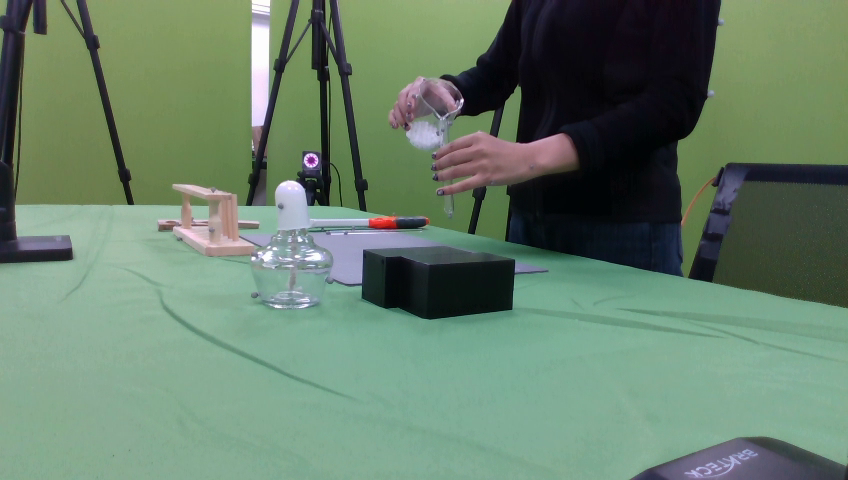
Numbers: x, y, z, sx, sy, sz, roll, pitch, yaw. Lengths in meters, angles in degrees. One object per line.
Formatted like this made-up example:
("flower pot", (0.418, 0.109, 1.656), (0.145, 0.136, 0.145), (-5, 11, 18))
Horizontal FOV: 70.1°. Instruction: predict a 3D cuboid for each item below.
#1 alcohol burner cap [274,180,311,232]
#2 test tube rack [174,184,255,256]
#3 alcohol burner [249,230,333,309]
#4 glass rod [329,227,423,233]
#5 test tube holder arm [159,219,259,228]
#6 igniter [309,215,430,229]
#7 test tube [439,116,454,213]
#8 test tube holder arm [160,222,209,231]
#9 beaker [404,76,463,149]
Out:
("alcohol burner cap", (-0.125, -0.032, 0.563), (0.034, 0.048, 0.034), (-6, 5, 1))
("test tube rack", (-0.327, -0.036, 0.928), (0.067, 0.085, 0.241), (-2, 9, -32))
("alcohol burner", (-0.125, 0.004, 0.568), (0.078, 0.119, 0.078), (2, 10, 0))
("glass rod", (-0.087, -0.019, 1.148), (0.201, 0.008, 0.008), (-3, 8, -32))
("test tube holder arm", (-0.390, -0.030, 1.107), (0.179, 0.015, 0.013), (-4, 45, -39))
("igniter", (-0.108, -0.037, 1.228), (0.278, 0.025, 0.057), (-3, -1, -36))
("test tube", (0.034, -0.115, 0.915), (0.017, 0.150, 0.017), (-3, -10, 0))
("test tube holder arm", (-0.423, -0.025, 1.076), (0.088, 0.015, 0.010), (-3, 45, -38))
("beaker", (0.012, -0.203, 0.988), (0.074, 0.083, 0.100), (6, -33, -17))
